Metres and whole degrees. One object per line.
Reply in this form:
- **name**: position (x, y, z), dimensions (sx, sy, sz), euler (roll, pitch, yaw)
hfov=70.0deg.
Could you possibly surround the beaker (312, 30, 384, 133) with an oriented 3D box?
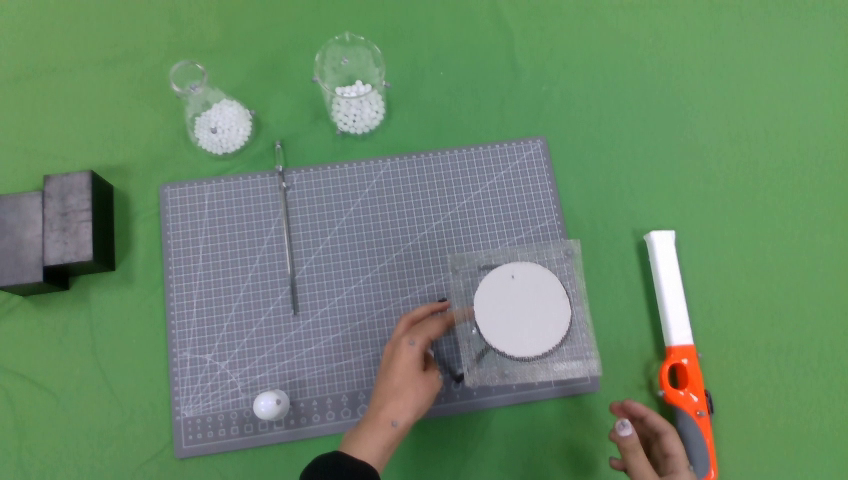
- **beaker**: position (-0.082, -0.173, 0.677), dimensions (0.074, 0.100, 0.083), euler (-6, 75, -4)

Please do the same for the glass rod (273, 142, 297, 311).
- **glass rod**: position (-0.157, -0.018, 0.679), dimensions (0.008, 0.008, 0.198), euler (-8, 76, -5)

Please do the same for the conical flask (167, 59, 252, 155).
- **conical flask**: position (-0.236, -0.147, 0.652), dimensions (0.075, 0.122, 0.075), euler (1, 75, -2)

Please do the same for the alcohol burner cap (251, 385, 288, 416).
- **alcohol burner cap**: position (-0.160, 0.164, 0.618), dimensions (0.034, 0.048, 0.033), euler (1, 76, -3)

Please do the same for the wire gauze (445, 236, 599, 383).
- **wire gauze**: position (0.086, 0.061, 0.537), dimensions (0.125, 0.011, 0.121), euler (-5, 78, -3)

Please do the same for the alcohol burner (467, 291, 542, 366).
- **alcohol burner**: position (0.083, 0.087, 0.610), dimensions (0.078, 0.119, 0.077), euler (0, 77, 0)

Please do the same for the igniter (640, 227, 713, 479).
- **igniter**: position (0.273, 0.120, 0.657), dimensions (0.057, 0.025, 0.275), euler (-1, 76, -14)

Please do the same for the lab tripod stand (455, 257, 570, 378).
- **lab tripod stand**: position (0.084, 0.079, 0.602), dimensions (0.148, 0.132, 0.147), euler (1, 78, -2)
